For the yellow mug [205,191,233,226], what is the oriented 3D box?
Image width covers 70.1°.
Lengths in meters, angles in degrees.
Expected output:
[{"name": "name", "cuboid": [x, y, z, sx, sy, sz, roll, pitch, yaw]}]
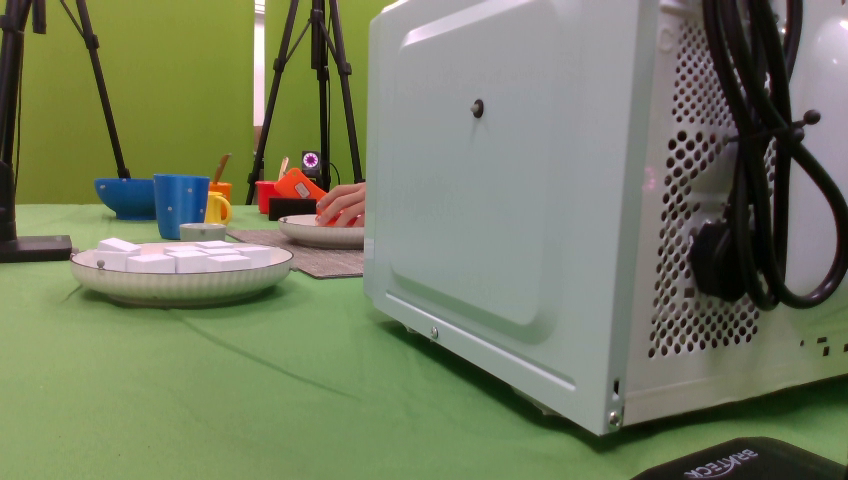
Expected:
[{"name": "yellow mug", "cuboid": [-0.415, -0.057, 1.132, 0.130, 0.064, 0.100, 6, 8, 16]}]

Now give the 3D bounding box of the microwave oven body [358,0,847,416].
[{"name": "microwave oven body", "cuboid": [0.211, -0.047, 0.474, 0.444, 0.260, 0.324, -1, 7, -28]}]

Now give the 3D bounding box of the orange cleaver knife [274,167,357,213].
[{"name": "orange cleaver knife", "cuboid": [-0.238, -0.091, 1.381, 0.212, 0.077, 0.012, 31, 0, -19]}]

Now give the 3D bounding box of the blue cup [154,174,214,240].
[{"name": "blue cup", "cuboid": [-0.391, -0.053, 0.978, 0.093, 0.100, 0.092, 3, 6, 0]}]

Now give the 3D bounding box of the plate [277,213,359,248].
[{"name": "plate", "cuboid": [-0.134, -0.017, 0.992, 0.209, 0.038, 0.209, 2, 8, 0]}]

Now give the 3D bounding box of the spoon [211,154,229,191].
[{"name": "spoon", "cuboid": [-0.431, -0.115, 1.253, 0.042, 0.193, 0.021, -4, 54, -33]}]

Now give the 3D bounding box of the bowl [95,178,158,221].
[{"name": "bowl", "cuboid": [-0.576, -0.081, 1.217, 0.151, 0.077, 0.151, 3, 8, 0]}]

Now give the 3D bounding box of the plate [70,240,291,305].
[{"name": "plate", "cuboid": [-0.242, 0.031, 0.618, 0.208, 0.039, 0.207, 2, 8, 0]}]

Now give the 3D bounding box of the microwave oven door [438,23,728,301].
[{"name": "microwave oven door", "cuboid": [0.181, -0.072, 0.620, 0.358, 0.243, 0.039, -2, 8, -29]}]

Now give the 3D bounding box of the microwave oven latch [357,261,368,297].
[{"name": "microwave oven latch", "cuboid": [-0.019, 0.033, 0.531, 0.079, 0.029, 0.030, -1, 7, -27]}]

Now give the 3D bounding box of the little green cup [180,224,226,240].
[{"name": "little green cup", "cuboid": [-0.309, -0.001, 0.846, 0.061, 0.038, 0.061, 2, 8, 0]}]

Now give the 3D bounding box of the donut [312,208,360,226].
[{"name": "donut", "cuboid": [-0.135, -0.029, 0.998, 0.099, 0.048, 0.099, 4, 5, 0]}]

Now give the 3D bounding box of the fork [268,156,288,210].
[{"name": "fork", "cuboid": [-0.360, -0.144, 1.508, 0.028, 0.018, 0.207, 1, 49, 0]}]
